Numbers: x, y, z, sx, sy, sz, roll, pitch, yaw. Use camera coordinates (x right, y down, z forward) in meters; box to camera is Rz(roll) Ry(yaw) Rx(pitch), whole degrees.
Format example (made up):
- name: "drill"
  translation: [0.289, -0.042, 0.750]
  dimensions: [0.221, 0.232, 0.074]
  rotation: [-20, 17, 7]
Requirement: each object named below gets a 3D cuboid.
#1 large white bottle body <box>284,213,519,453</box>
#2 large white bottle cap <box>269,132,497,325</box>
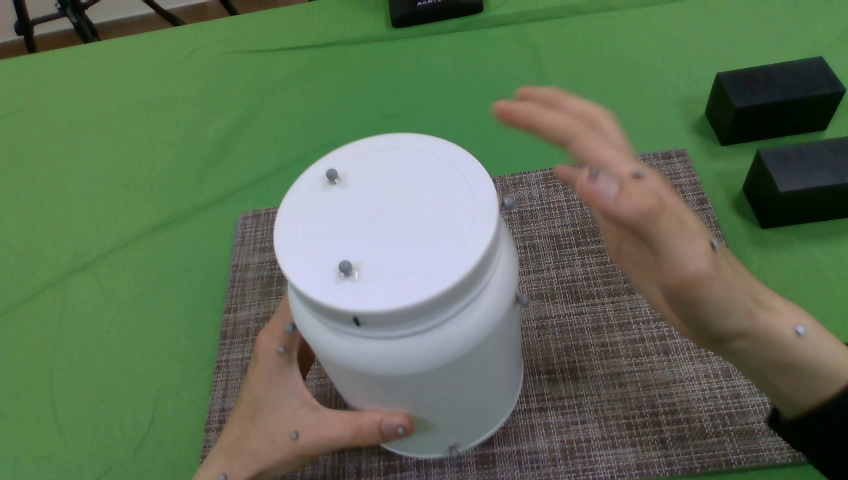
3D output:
- name: "large white bottle body"
  translation: [-0.008, 0.042, 0.375]
  dimensions: [0.130, 0.186, 0.129]
  rotation: [-5, 53, 7]
- name: "large white bottle cap"
  translation: [-0.021, -0.010, 0.306]
  dimensions: [0.115, 0.018, 0.113]
  rotation: [-4, 53, 6]
